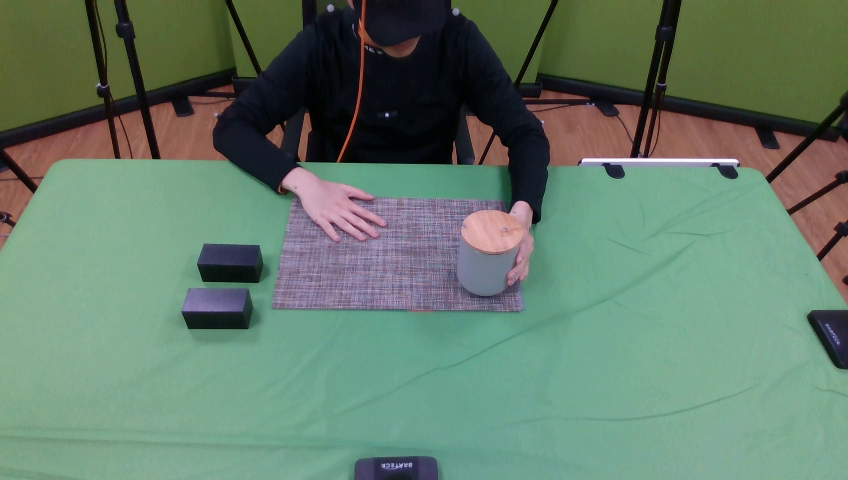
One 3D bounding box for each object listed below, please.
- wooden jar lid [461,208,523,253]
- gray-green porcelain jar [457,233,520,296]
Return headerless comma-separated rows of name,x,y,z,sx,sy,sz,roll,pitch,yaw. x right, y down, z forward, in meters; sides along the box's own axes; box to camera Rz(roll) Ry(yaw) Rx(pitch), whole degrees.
wooden jar lid,0.118,-0.013,1.054,0.108,0.021,0.107,0,44,0
gray-green porcelain jar,0.114,0.030,1.099,0.106,0.127,0.105,2,47,-2
